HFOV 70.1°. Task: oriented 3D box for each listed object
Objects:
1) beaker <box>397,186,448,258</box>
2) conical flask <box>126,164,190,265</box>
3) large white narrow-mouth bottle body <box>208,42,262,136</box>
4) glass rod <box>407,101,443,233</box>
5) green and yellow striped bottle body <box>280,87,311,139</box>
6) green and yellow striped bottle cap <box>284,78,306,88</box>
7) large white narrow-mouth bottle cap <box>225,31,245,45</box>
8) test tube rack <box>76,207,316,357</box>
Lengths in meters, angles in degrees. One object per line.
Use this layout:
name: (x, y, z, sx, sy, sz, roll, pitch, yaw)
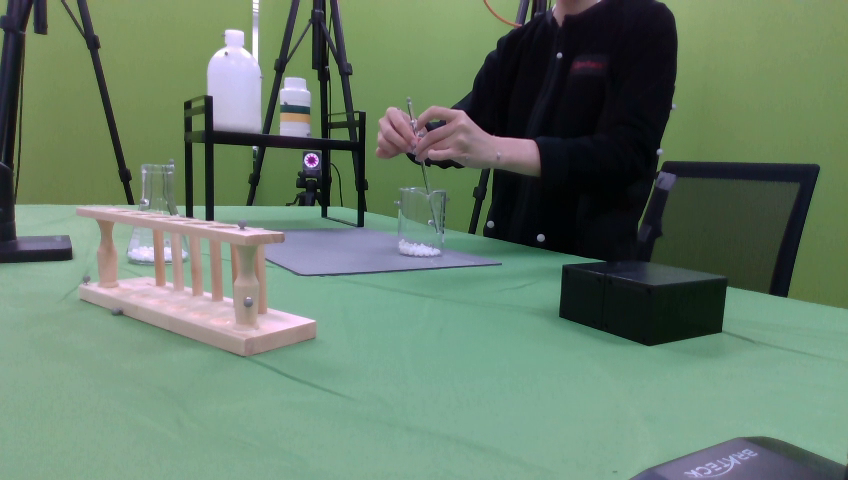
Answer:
beaker: (-0.002, -0.026, 0.890, 0.074, 0.100, 0.084, 1, 8, -11)
conical flask: (-0.332, -0.033, 0.756, 0.075, 0.122, 0.075, 2, 7, 0)
large white narrow-mouth bottle body: (-0.368, -0.304, 1.181, 0.102, 0.194, 0.101, 2, 9, 0)
glass rod: (0.003, -0.105, 0.887, 0.008, 0.199, 0.008, -14, 12, 3)
green and yellow striped bottle body: (-0.269, -0.274, 1.266, 0.063, 0.119, 0.063, 3, 7, 0)
green and yellow striped bottle cap: (-0.268, -0.325, 1.259, 0.045, 0.020, 0.045, 5, 7, 0)
large white narrow-mouth bottle cap: (-0.365, -0.389, 1.166, 0.038, 0.024, 0.037, 3, 9, 0)
test tube rack: (-0.196, 0.023, 0.500, 0.241, 0.085, 0.067, 8, 9, 36)
